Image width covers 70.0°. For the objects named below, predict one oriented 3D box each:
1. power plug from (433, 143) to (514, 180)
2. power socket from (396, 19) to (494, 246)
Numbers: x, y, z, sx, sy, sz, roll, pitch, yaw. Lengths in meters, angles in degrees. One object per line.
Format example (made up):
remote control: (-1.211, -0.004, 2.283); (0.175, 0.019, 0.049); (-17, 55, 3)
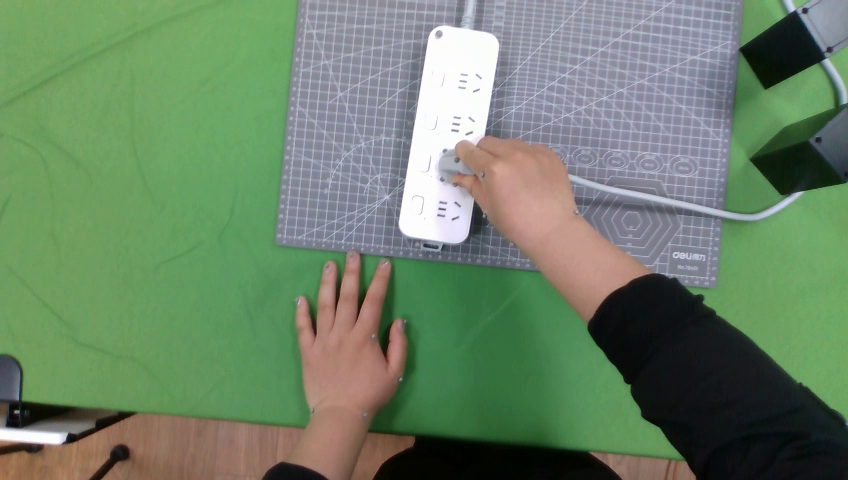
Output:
power plug: (0.044, -0.069, 0.583); (0.072, 0.052, 0.035); (22, 89, 0)
power socket: (0.021, -0.107, 0.602); (0.072, 0.032, 0.226); (9, 90, 0)
